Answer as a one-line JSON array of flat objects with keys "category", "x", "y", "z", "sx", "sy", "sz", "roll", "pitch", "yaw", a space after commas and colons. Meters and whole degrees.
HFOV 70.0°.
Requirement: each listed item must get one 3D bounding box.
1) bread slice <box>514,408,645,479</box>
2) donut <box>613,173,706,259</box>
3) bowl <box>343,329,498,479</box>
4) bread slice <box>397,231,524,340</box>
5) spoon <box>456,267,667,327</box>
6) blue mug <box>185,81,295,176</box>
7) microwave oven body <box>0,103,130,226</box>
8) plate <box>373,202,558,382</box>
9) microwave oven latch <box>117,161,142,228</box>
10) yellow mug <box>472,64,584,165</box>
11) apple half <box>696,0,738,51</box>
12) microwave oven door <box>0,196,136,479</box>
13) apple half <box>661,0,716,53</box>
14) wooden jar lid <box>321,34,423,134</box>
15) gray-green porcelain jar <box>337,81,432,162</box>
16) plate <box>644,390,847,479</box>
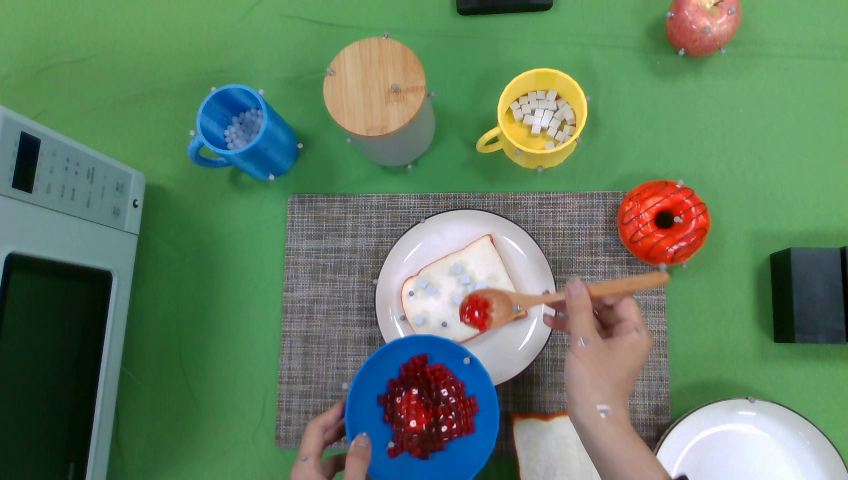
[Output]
[{"category": "bread slice", "x": 0.167, "y": 0.233, "z": 0.635, "sx": 0.135, "sy": 0.018, "sz": 0.106, "roll": -5, "pitch": 78, "yaw": -14}, {"category": "donut", "x": 0.263, "y": -0.027, "z": 0.681, "sx": 0.099, "sy": 0.048, "sz": 0.099, "roll": -1, "pitch": 83, "yaw": 6}, {"category": "bowl", "x": -0.008, "y": 0.170, "z": 0.611, "sx": 0.152, "sy": 0.077, "sz": 0.150, "roll": 3, "pitch": 73, "yaw": -10}, {"category": "bread slice", "x": 0.037, "y": 0.063, "z": 0.699, "sx": 0.131, "sy": 0.019, "sz": 0.104, "roll": -26, "pitch": 79, "yaw": 0}, {"category": "spoon", "x": 0.121, "y": 0.049, "z": 0.554, "sx": 0.193, "sy": 0.022, "sz": 0.041, "roll": -12, "pitch": 85, "yaw": 25}, {"category": "blue mug", "x": -0.224, "y": -0.122, "z": 0.721, "sx": 0.116, "sy": 0.106, "sz": 0.082, "roll": -26, "pitch": 79, "yaw": 3}, {"category": "microwave oven body", "x": -0.538, "y": 0.097, "z": 0.643, "sx": 0.326, "sy": 0.261, "sz": 0.440, "roll": 3, "pitch": 83, "yaw": 6}, {"category": "plate", "x": 0.047, "y": 0.061, "z": 0.696, "sx": 0.207, "sy": 0.039, "sz": 0.207, "roll": -1, "pitch": 82, "yaw": 6}, {"category": "microwave oven latch", "x": -0.368, "y": -0.056, "z": 0.743, "sx": 0.030, "sy": 0.029, "sz": 0.079, "roll": 5, "pitch": 83, "yaw": 7}, {"category": "yellow mug", "x": 0.117, "y": -0.138, "z": 0.706, "sx": 0.131, "sy": 0.064, "sz": 0.099, "roll": -24, "pitch": 80, "yaw": 3}, {"category": "apple half", "x": 0.326, "y": -0.264, "z": 0.696, "sx": 0.053, "sy": 0.075, "sz": 0.080, "roll": -32, "pitch": 76, "yaw": -4}, {"category": "microwave oven door", "x": -0.398, "y": 0.146, "z": 0.615, "sx": 0.039, "sy": 0.245, "sz": 0.354, "roll": 3, "pitch": 82, "yaw": 7}, {"category": "apple half", "x": 0.294, "y": -0.242, "z": 0.695, "sx": 0.033, "sy": 0.081, "sz": 0.081, "roll": -33, "pitch": 79, "yaw": -4}, {"category": "wooden jar lid", "x": -0.054, "y": -0.161, "z": 0.634, "sx": 0.108, "sy": 0.021, "sz": 0.108, "roll": -1, "pitch": 80, "yaw": 7}, {"category": "gray-green porcelain jar", "x": -0.046, "y": -0.151, "z": 0.695, "sx": 0.106, "sy": 0.127, "sz": 0.105, "roll": -1, "pitch": 81, "yaw": 6}, {"category": "plate", "x": 0.335, "y": 0.263, "z": 0.639, "sx": 0.209, "sy": 0.038, "sz": 0.208, "roll": -1, "pitch": 82, "yaw": 7}]
